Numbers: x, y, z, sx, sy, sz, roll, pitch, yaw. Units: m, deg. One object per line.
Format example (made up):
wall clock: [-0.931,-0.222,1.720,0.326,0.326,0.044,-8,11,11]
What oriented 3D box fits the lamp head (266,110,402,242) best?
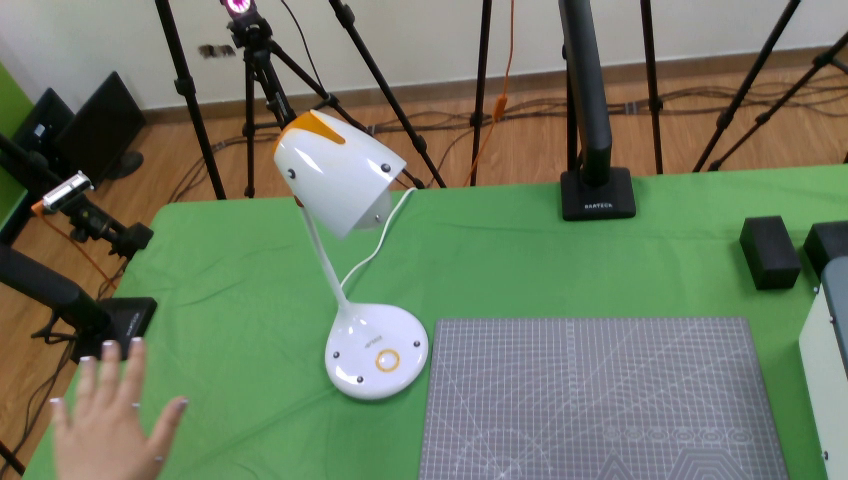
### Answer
lamp head: [-0.103,-0.074,0.636,0.123,0.112,0.112,37,61,-2]

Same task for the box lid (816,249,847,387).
box lid: [0.566,0.154,0.594,0.262,0.015,0.368,1,51,14]

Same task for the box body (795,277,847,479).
box body: [0.578,0.203,0.648,0.253,0.162,0.361,1,50,14]

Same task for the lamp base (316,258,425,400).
lamp base: [-0.099,0.114,0.870,0.160,0.182,0.177,-41,51,-21]
